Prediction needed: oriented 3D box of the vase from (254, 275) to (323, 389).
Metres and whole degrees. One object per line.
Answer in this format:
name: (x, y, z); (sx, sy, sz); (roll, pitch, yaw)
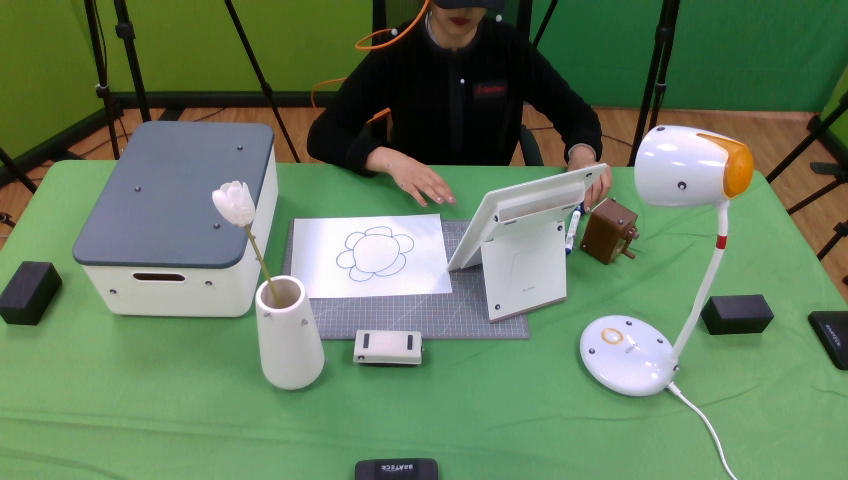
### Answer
vase: (-0.209, 0.143, 0.921); (0.098, 0.201, 0.097); (1, 46, -1)

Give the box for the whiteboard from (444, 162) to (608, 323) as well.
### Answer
whiteboard: (0.186, 0.025, 1.029); (0.217, 0.306, 0.143); (-14, 68, -17)

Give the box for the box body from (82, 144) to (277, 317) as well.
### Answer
box body: (-0.421, -0.041, 1.108); (0.254, 0.161, 0.361); (2, 46, -3)

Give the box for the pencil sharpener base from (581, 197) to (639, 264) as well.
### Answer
pencil sharpener base: (0.362, -0.017, 1.179); (0.076, 0.107, 0.061); (37, 54, 27)

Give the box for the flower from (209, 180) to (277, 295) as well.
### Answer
flower: (-0.217, 0.075, 0.871); (0.044, 0.363, 0.038); (-29, 36, -19)

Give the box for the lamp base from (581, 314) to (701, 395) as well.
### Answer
lamp base: (0.361, 0.144, 0.973); (0.178, 0.181, 0.160); (34, 53, 23)

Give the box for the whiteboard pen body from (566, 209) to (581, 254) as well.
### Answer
whiteboard pen body: (0.307, -0.026, 1.241); (0.017, 0.017, 0.140); (16, 51, 11)

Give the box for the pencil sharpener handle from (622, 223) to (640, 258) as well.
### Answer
pencil sharpener handle: (0.397, 0.003, 1.146); (0.030, 0.068, 0.036); (37, 47, 27)

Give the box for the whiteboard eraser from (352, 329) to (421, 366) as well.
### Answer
whiteboard eraser: (-0.061, 0.180, 1.005); (0.113, 0.042, 0.055); (3, 48, -3)

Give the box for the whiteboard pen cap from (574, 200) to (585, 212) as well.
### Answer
whiteboard pen cap: (0.327, -0.069, 1.277); (0.018, 0.018, 0.033); (19, 52, 14)

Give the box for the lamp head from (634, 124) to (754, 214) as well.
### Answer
lamp head: (0.351, -0.089, 0.775); (0.112, 0.113, 0.122); (-30, 30, -28)

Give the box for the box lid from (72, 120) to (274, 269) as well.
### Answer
box lid: (-0.417, -0.094, 1.056); (0.263, 0.015, 0.369); (1, 47, -3)
